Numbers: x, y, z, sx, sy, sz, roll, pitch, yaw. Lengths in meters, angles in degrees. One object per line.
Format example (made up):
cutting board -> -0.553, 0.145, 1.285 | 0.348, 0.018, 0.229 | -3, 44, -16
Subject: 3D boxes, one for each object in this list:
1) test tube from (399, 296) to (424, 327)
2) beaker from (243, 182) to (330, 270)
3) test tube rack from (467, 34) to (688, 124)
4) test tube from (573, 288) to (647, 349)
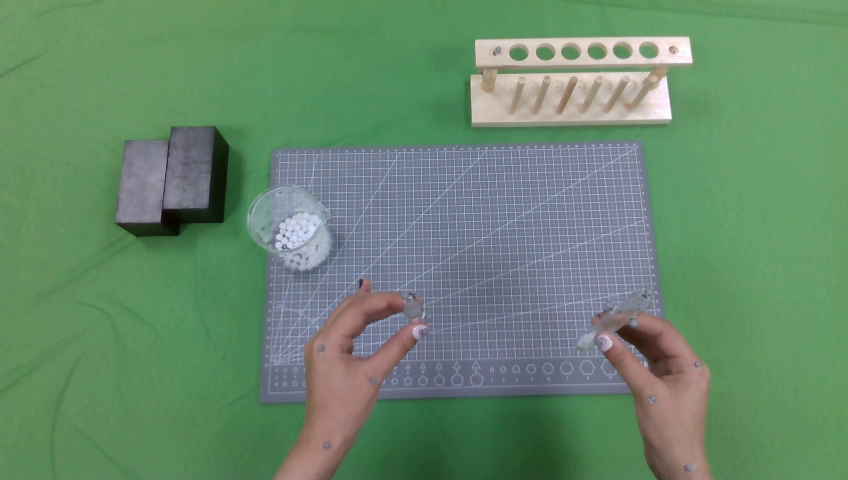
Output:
test tube -> -0.009, 0.064, 0.525 | 0.017, 0.151, 0.017 | 0, 78, 2
beaker -> -0.141, -0.012, 0.656 | 0.084, 0.101, 0.073 | -9, 75, -3
test tube rack -> 0.175, -0.188, 0.716 | 0.242, 0.085, 0.066 | -1, 74, 0
test tube -> 0.153, 0.070, 0.515 | 0.017, 0.151, 0.017 | 1, 68, -3
